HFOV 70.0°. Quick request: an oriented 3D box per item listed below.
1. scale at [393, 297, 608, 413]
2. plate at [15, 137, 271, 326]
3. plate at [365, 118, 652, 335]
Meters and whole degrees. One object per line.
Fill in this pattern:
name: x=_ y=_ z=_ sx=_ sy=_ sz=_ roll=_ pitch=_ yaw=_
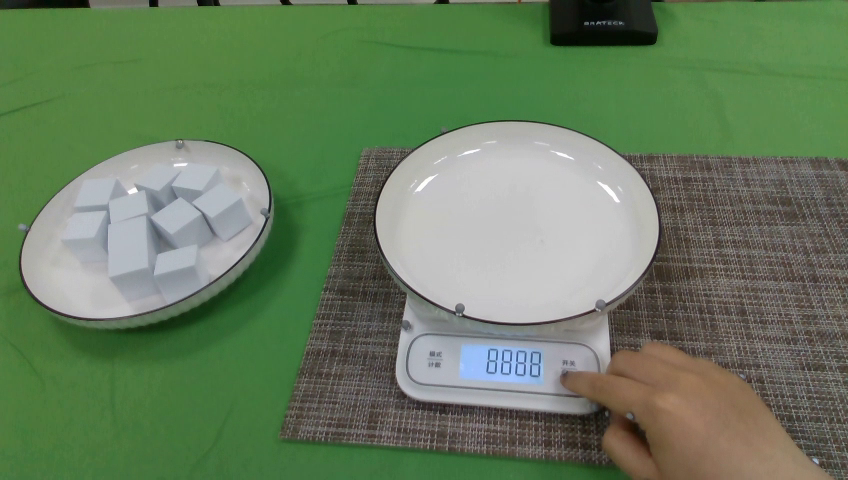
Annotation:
scale: x=0.061 y=0.030 z=0.464 sx=0.148 sy=0.032 sz=0.199 roll=3 pitch=50 yaw=8
plate: x=-0.233 y=-0.009 z=0.524 sx=0.209 sy=0.038 sz=0.207 roll=-2 pitch=49 yaw=3
plate: x=0.061 y=-0.013 z=0.458 sx=0.207 sy=0.039 sz=0.205 roll=-2 pitch=50 yaw=2
